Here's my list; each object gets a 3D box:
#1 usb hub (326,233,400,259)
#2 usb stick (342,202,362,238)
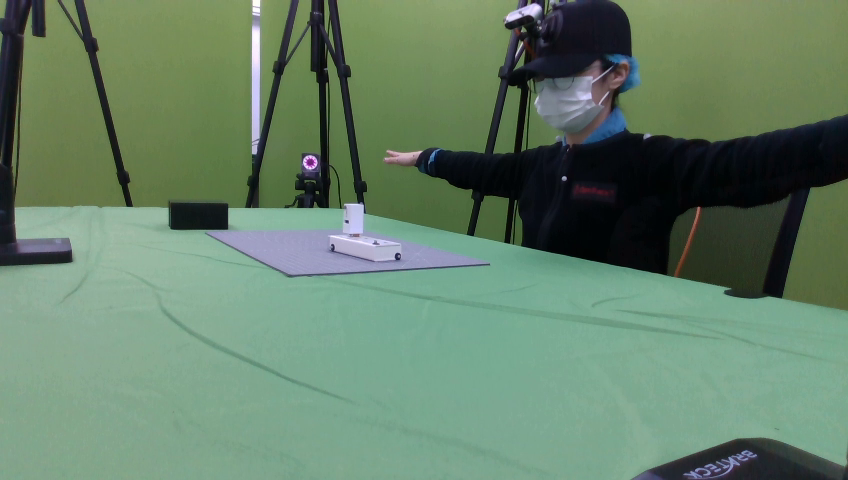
[{"bbox_3d":[-0.092,0.008,0.892,0.050,0.025,0.124,-5,9,-40],"label":"usb hub"},{"bbox_3d":[-0.109,-0.027,0.914,0.027,0.059,0.021,-8,12,-42],"label":"usb stick"}]
